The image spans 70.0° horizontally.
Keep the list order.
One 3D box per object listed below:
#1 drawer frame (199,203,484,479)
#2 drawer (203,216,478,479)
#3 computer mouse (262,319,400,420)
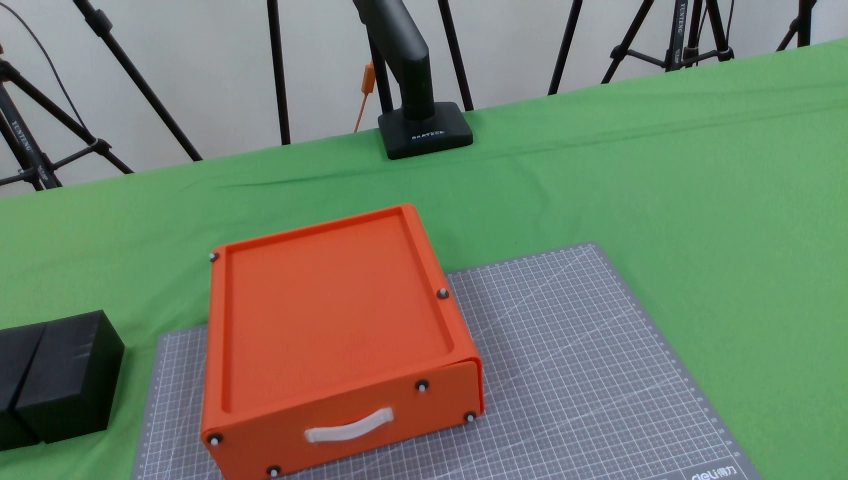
[{"bbox_3d":[-0.077,0.075,0.519,0.202,0.083,0.211,-14,38,-8],"label":"drawer frame"},{"bbox_3d":[-0.076,0.077,0.518,0.195,0.074,0.209,-14,38,-7],"label":"drawer"},{"bbox_3d":[-0.079,0.105,0.504,0.117,0.041,0.062,-17,42,-2],"label":"computer mouse"}]
